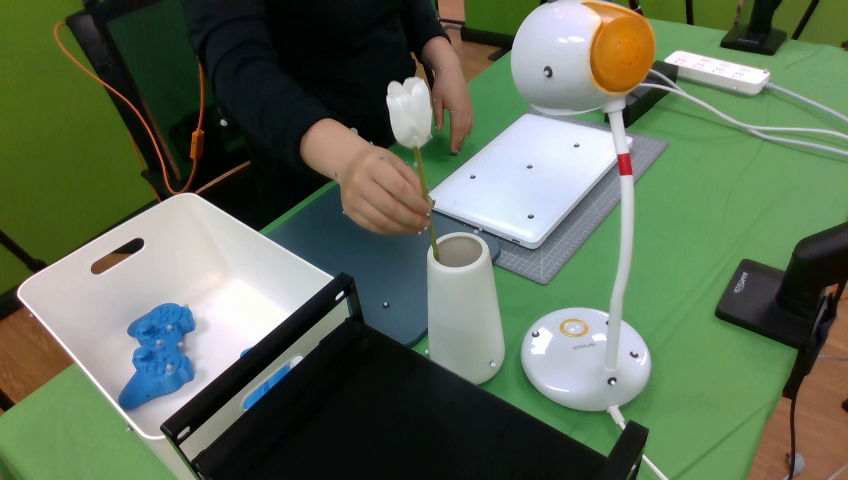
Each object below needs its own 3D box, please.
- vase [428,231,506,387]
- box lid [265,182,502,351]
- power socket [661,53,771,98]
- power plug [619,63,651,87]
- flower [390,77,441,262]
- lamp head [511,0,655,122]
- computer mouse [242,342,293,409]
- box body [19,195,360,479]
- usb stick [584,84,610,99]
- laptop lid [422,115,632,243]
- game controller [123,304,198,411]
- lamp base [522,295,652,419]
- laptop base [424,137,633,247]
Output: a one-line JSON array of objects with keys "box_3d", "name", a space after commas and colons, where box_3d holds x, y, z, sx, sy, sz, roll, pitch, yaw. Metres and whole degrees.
[{"box_3d": [0.051, 0.087, 0.727, 0.098, 0.201, 0.097, -3, 40, 3], "name": "vase"}, {"box_3d": [-0.087, 0.023, 0.970, 0.368, 0.015, 0.264, 23, 49, 31], "name": "box lid"}, {"box_3d": [0.618, -0.355, 1.291, 0.225, 0.033, 0.072, 29, 53, 35], "name": "power socket"}, {"box_3d": [0.435, -0.341, 1.265, 0.035, 0.053, 0.072, 6, 30, -14], "name": "power plug"}, {"box_3d": [0.011, -0.004, 0.651, 0.038, 0.363, 0.044, 20, 49, 30], "name": "flower"}, {"box_3d": [0.156, -0.168, 0.563, 0.113, 0.113, 0.122, -18, 23, -12], "name": "lamp head"}, {"box_3d": [-0.200, 0.178, 0.776, 0.063, 0.041, 0.116, -11, 43, -8], "name": "computer mouse"}, {"box_3d": [-0.287, 0.118, 0.771, 0.361, 0.161, 0.255, 26, 50, 33], "name": "box body"}, {"box_3d": [0.354, -0.306, 1.252, 0.027, 0.021, 0.058, 0, 1, -40], "name": "usb stick"}, {"box_3d": [0.190, -0.126, 1.081, 0.239, 0.013, 0.358, 23, 49, 35], "name": "laptop lid"}, {"box_3d": [-0.363, 0.150, 0.828, 0.097, 0.052, 0.154, -15, 42, -8], "name": "game controller"}, {"box_3d": [0.201, 0.095, 0.710, 0.161, 0.181, 0.178, -16, 43, -10], "name": "lamp base"}, {"box_3d": [0.193, -0.117, 1.086, 0.233, 0.023, 0.355, 20, 47, 35], "name": "laptop base"}]
